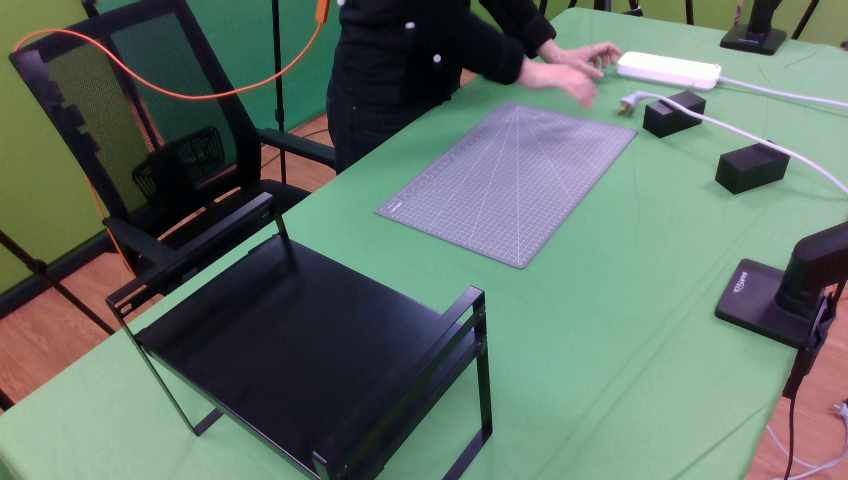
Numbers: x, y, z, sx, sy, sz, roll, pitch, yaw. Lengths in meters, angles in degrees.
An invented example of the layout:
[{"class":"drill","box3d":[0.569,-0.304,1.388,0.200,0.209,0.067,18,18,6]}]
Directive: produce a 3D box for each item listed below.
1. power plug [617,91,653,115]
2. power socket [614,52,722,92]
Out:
[{"class":"power plug","box3d":[0.414,-0.273,1.206,0.052,0.035,0.072,-53,8,1]},{"class":"power socket","box3d":[0.528,-0.367,1.317,0.225,0.033,0.072,21,49,28]}]
